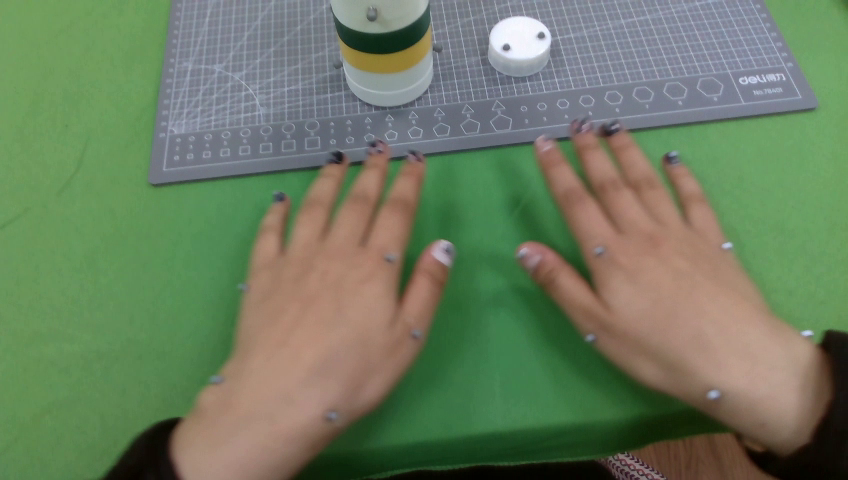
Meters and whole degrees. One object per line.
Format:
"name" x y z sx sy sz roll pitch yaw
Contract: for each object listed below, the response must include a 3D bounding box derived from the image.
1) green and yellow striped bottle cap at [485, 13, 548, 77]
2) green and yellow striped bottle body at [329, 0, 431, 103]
"green and yellow striped bottle cap" 0.066 -0.140 0.433 0.045 0.020 0.045 -1 64 1
"green and yellow striped bottle body" -0.028 -0.149 0.380 0.063 0.120 0.062 -1 62 2
